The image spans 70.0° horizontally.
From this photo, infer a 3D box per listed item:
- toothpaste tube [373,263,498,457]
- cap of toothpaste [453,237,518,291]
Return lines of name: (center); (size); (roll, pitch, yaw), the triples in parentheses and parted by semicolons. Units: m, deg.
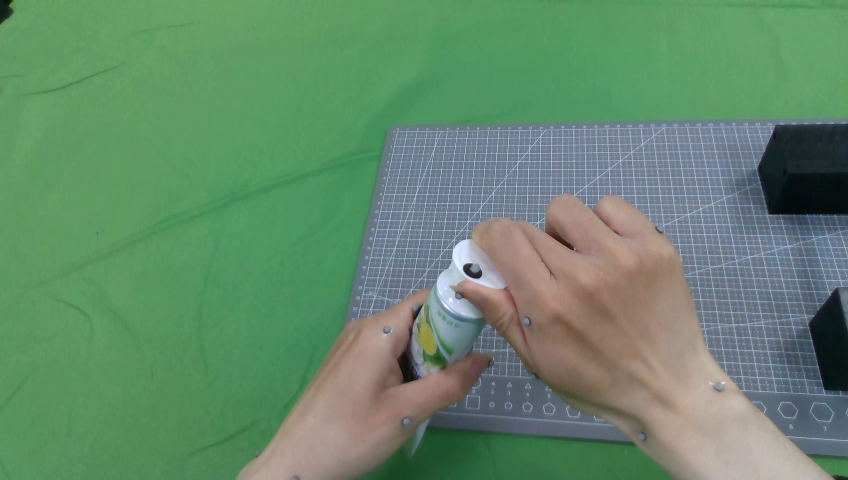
toothpaste tube: (0.003, 0.068, 0.363); (0.035, 0.166, 0.054); (-7, 48, -34)
cap of toothpaste: (0.030, 0.014, 0.312); (0.037, 0.011, 0.037); (15, 40, -13)
